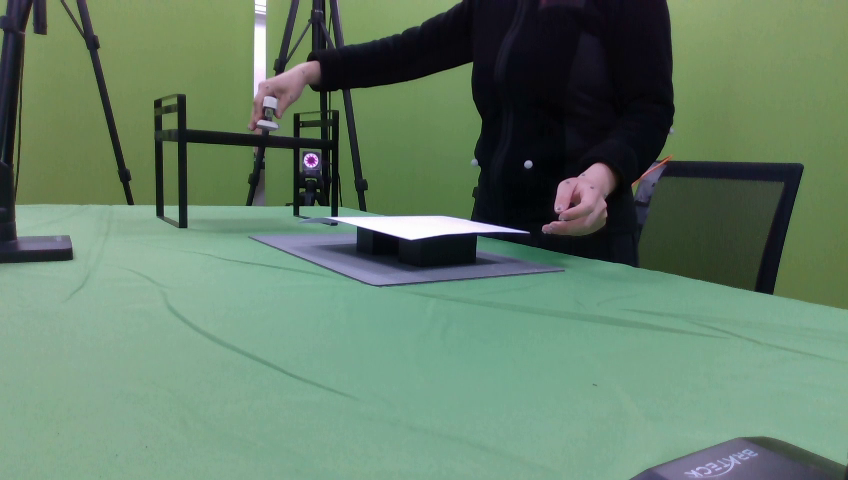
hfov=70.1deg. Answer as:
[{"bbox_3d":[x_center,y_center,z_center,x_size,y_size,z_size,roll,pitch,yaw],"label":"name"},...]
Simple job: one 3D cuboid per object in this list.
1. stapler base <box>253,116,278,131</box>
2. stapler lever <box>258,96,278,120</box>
[{"bbox_3d":[-0.318,-0.238,1.217,0.041,0.024,0.130,11,2,-21],"label":"stapler base"},{"bbox_3d":[-0.315,-0.263,1.218,0.027,0.040,0.117,11,2,-21],"label":"stapler lever"}]
